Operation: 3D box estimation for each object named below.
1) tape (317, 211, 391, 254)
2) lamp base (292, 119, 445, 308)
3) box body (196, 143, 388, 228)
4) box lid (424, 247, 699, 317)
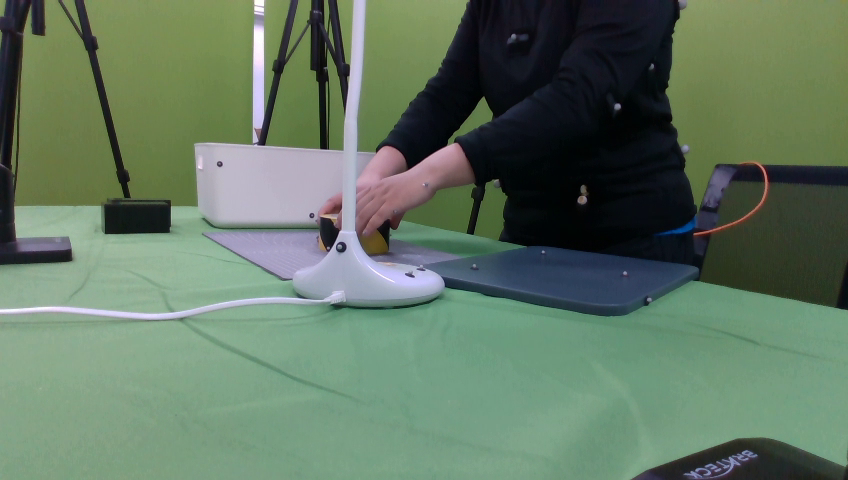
[{"bbox_3d":[-0.110,-0.013,0.938,0.117,0.052,0.117,3,9,0],"label":"tape"},{"bbox_3d":[-0.056,-0.030,0.616,0.160,0.180,0.179,3,10,8],"label":"lamp base"},{"bbox_3d":[-0.286,-0.118,1.291,0.366,0.160,0.253,-1,8,-27],"label":"box body"},{"bbox_3d":[0.184,0.044,0.789,0.262,0.015,0.373,8,9,35],"label":"box lid"}]
